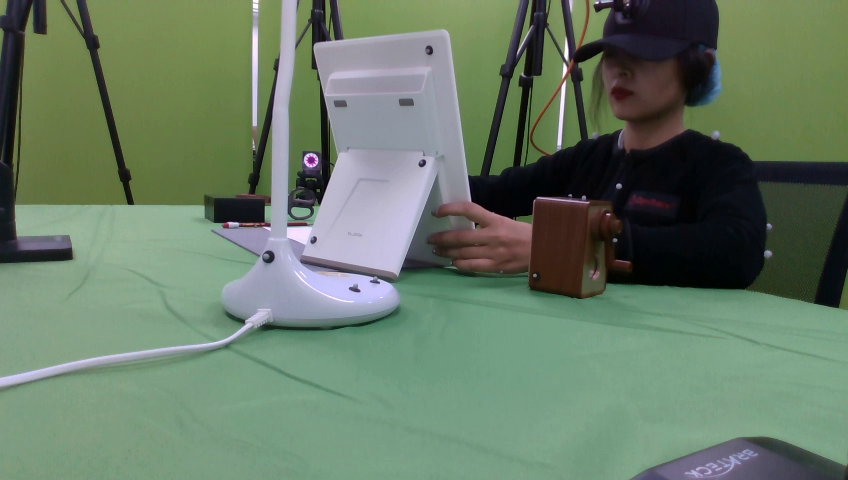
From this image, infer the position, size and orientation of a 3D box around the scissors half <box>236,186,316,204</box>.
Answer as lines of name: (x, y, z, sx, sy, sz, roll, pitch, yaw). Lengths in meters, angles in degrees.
scissors half: (-0.320, -0.097, 1.316, 0.176, 0.040, 0.013, -3, 11, -29)

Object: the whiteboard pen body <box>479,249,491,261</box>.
whiteboard pen body: (0.032, 0.016, 0.899, 0.140, 0.017, 0.017, 6, 8, 28)

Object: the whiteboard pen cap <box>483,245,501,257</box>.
whiteboard pen cap: (0.104, 0.017, 0.936, 0.018, 0.018, 0.033, -1, 5, -22)

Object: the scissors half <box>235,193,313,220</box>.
scissors half: (-0.324, -0.077, 1.319, 0.176, 0.040, 0.012, 17, 6, -31)

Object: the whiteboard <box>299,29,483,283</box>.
whiteboard: (-0.074, -0.082, 0.742, 0.216, 0.305, 0.144, 9, 29, 37)

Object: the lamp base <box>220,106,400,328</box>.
lamp base: (-0.101, -0.023, 0.531, 0.160, 0.180, 0.179, 4, 10, 10)

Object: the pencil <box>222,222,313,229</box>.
pencil: (-0.302, -0.030, 1.189, 0.195, 0.012, 0.012, -2, 9, -42)

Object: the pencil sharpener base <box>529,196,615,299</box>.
pencil sharpener base: (0.168, 0.007, 0.678, 0.076, 0.107, 0.062, 10, 10, 42)

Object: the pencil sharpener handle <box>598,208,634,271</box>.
pencil sharpener handle: (0.208, 0.000, 0.645, 0.030, 0.068, 0.036, 10, 23, 42)

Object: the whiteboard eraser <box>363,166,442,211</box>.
whiteboard eraser: (-0.033, -0.069, 0.847, 0.112, 0.056, 0.042, -2, 38, 40)
